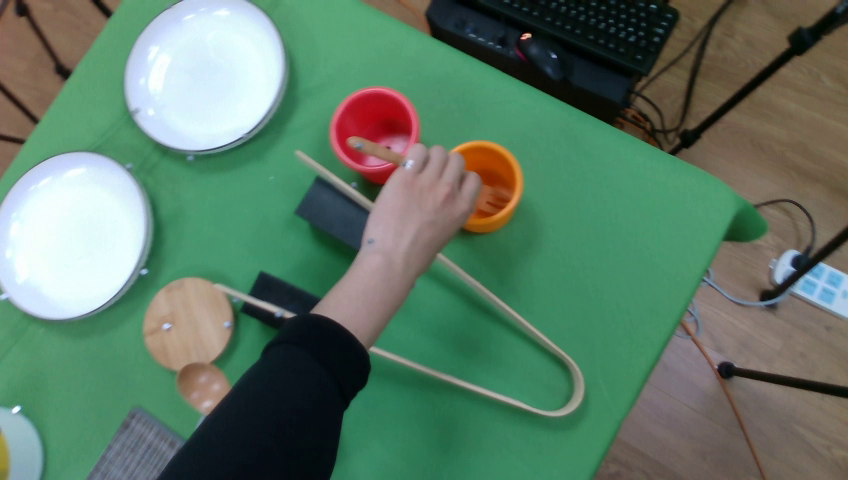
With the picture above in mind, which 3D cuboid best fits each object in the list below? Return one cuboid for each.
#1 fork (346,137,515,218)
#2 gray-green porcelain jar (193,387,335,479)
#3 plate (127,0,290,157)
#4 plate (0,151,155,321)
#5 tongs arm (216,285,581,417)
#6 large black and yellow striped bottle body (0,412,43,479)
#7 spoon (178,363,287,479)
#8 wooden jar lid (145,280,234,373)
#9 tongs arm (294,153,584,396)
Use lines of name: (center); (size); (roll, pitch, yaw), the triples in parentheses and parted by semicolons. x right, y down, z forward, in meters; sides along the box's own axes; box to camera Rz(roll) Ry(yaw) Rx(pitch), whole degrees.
fork: (0.013, -0.064, 0.627); (0.209, 0.018, 0.028); (20, 89, -32)
gray-green porcelain jar: (-0.153, 0.203, 0.612); (0.106, 0.127, 0.105); (-2, 78, 8)
plate: (-0.262, -0.200, 0.751); (0.209, 0.038, 0.208); (-2, 79, 8)
plate: (-0.420, -0.004, 0.736); (0.207, 0.039, 0.206); (-2, 79, 8)
tongs arm: (-0.026, 0.105, 0.623); (0.385, 0.026, 0.050); (24, 79, 0)
large black and yellow striped bottle body: (-0.517, 0.249, 0.625); (0.130, 0.185, 0.130); (-2, 78, 8)
spoon: (-0.153, 0.188, 0.543); (0.041, 0.022, 0.193); (-42, 80, -5)
wooden jar lid: (-0.269, 0.100, 0.703); (0.108, 0.021, 0.108); (-1, 80, 7)
tongs arm: (0.015, 0.032, 0.635); (0.387, 0.028, 0.028); (38, 76, 2)
